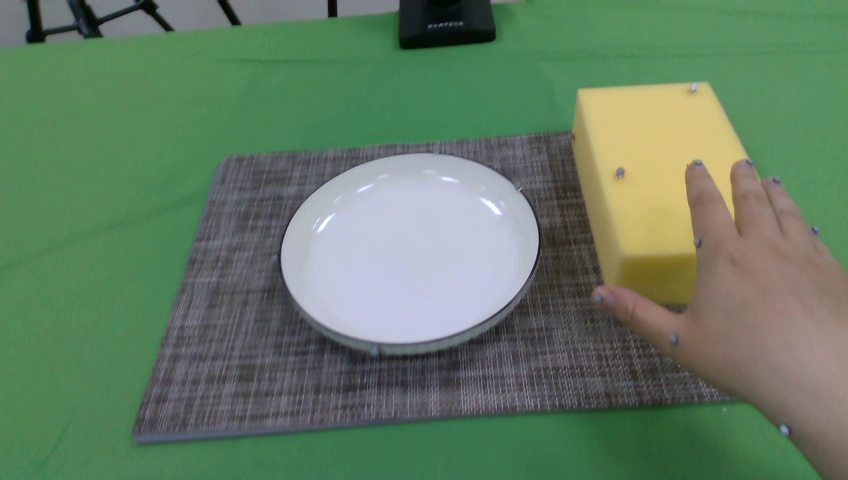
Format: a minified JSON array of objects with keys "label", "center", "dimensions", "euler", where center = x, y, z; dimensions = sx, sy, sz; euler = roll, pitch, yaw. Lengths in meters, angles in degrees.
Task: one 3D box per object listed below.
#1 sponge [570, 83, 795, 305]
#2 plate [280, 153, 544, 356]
[{"label":"sponge","center":[0.198,-0.046,0.503],"dimensions":[0.118,0.061,0.204],"euler":[-3,47,3]},{"label":"plate","center":[-0.009,0.009,0.490],"dimensions":[0.207,0.039,0.205],"euler":[-3,47,4]}]
